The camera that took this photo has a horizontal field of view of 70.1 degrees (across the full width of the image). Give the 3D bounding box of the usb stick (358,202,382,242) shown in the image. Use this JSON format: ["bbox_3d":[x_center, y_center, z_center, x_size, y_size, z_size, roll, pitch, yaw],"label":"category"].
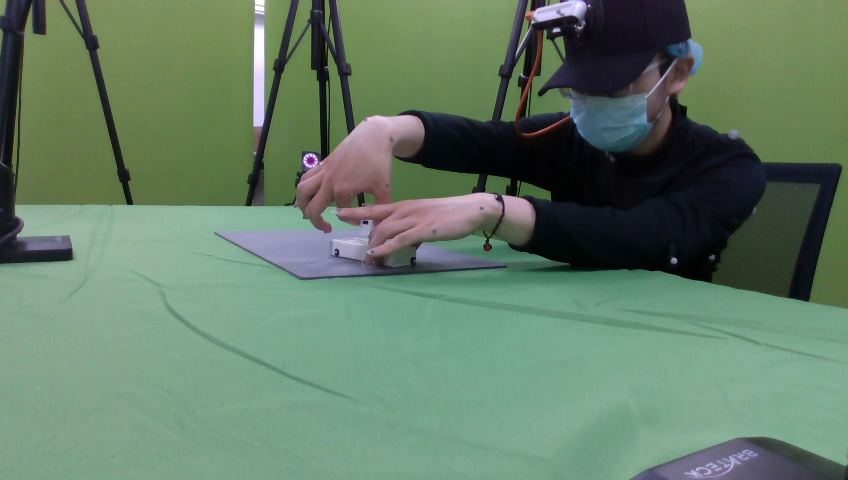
[{"bbox_3d":[-0.075,-0.022,0.839,0.021,0.059,0.027,9,8,36],"label":"usb stick"}]

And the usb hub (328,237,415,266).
[{"bbox_3d":[-0.074,0.015,0.835,0.124,0.025,0.050,7,8,39],"label":"usb hub"}]
